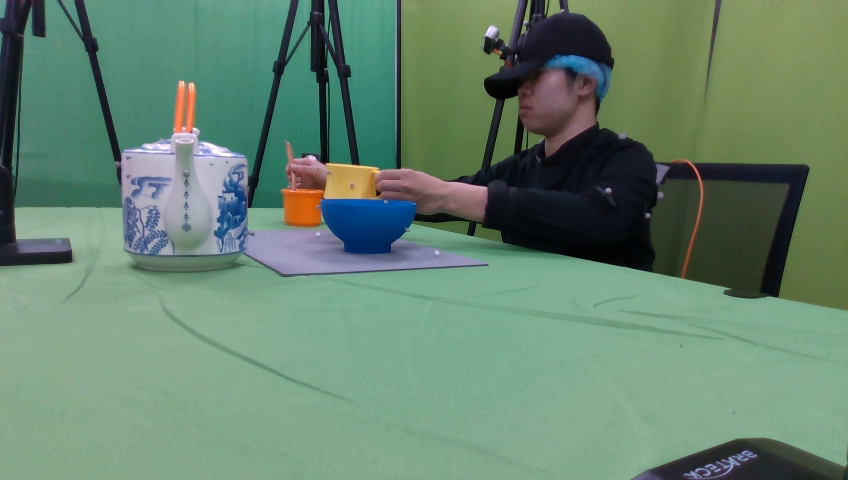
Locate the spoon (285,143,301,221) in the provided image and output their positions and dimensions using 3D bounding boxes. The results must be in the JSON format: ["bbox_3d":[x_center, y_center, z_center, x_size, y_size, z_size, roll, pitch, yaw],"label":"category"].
[{"bbox_3d":[-0.288,-0.129,1.318,0.021,0.193,0.042,-21,-24,35],"label":"spoon"}]

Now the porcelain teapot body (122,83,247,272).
[{"bbox_3d":[-0.286,-0.075,0.733,0.146,0.225,0.204,0,8,-24],"label":"porcelain teapot body"}]

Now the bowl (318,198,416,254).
[{"bbox_3d":[-0.089,-0.022,0.941,0.151,0.077,0.151,2,7,0],"label":"bowl"}]

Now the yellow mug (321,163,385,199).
[{"bbox_3d":[-0.127,-0.105,1.121,0.130,0.064,0.100,10,10,28],"label":"yellow mug"}]

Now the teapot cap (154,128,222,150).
[{"bbox_3d":[-0.294,-0.117,0.754,0.085,0.044,0.085,4,9,0],"label":"teapot cap"}]
